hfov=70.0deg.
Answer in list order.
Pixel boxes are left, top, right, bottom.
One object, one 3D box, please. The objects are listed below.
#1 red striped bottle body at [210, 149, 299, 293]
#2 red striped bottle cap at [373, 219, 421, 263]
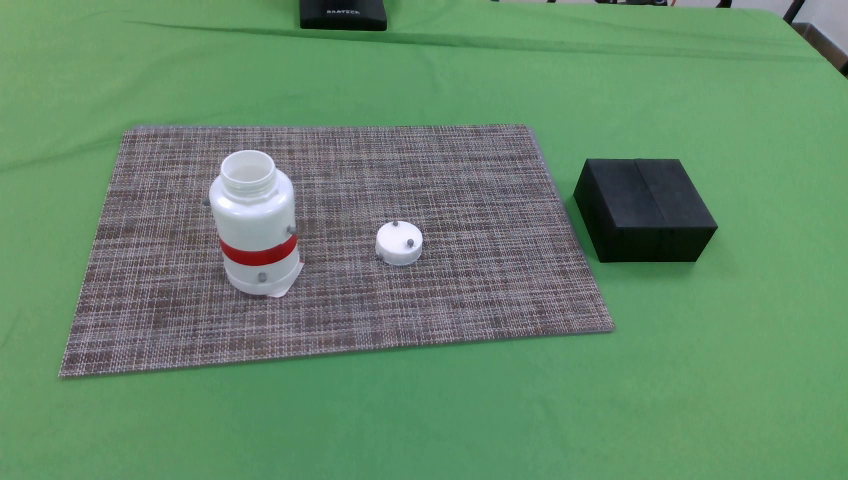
[{"bbox_3d":[-0.137,-0.016,0.495,0.063,0.120,0.062,4,47,-4],"label":"red striped bottle body"},{"bbox_3d":[-0.025,0.000,0.567,0.045,0.018,0.044,9,45,-8],"label":"red striped bottle cap"}]
